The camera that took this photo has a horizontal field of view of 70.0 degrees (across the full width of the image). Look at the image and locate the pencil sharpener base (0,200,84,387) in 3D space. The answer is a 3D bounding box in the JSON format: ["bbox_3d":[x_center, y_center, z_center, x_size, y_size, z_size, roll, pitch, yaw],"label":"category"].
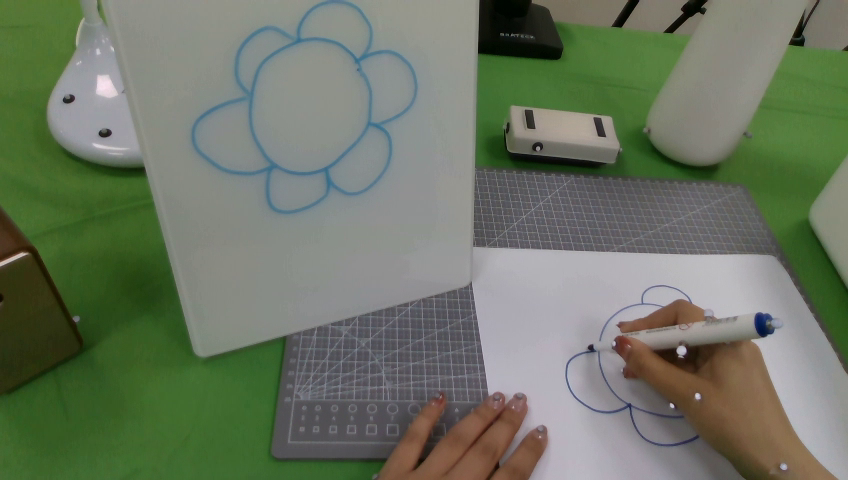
[{"bbox_3d":[-0.273,0.028,0.378,0.076,0.108,0.061,39,53,24],"label":"pencil sharpener base"}]

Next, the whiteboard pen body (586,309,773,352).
[{"bbox_3d":[0.167,0.065,0.417,0.017,0.140,0.017,11,69,-33],"label":"whiteboard pen body"}]

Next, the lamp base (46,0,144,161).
[{"bbox_3d":[-0.268,-0.188,0.525,0.178,0.182,0.160,33,51,22],"label":"lamp base"}]

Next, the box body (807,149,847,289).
[{"bbox_3d":[0.509,0.051,0.464,0.254,0.161,0.360,4,48,-6],"label":"box body"}]

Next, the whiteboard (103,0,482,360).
[{"bbox_3d":[-0.088,-0.103,0.436,0.218,0.308,0.142,-13,32,-20],"label":"whiteboard"}]

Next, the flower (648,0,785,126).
[{"bbox_3d":[0.321,-0.216,0.534,0.044,0.363,0.038,-18,71,-33],"label":"flower"}]

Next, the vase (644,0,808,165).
[{"bbox_3d":[0.300,-0.172,0.603,0.098,0.201,0.097,6,47,-6],"label":"vase"}]

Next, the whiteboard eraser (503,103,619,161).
[{"bbox_3d":[0.139,-0.109,0.623,0.113,0.042,0.055,4,45,-5],"label":"whiteboard eraser"}]
